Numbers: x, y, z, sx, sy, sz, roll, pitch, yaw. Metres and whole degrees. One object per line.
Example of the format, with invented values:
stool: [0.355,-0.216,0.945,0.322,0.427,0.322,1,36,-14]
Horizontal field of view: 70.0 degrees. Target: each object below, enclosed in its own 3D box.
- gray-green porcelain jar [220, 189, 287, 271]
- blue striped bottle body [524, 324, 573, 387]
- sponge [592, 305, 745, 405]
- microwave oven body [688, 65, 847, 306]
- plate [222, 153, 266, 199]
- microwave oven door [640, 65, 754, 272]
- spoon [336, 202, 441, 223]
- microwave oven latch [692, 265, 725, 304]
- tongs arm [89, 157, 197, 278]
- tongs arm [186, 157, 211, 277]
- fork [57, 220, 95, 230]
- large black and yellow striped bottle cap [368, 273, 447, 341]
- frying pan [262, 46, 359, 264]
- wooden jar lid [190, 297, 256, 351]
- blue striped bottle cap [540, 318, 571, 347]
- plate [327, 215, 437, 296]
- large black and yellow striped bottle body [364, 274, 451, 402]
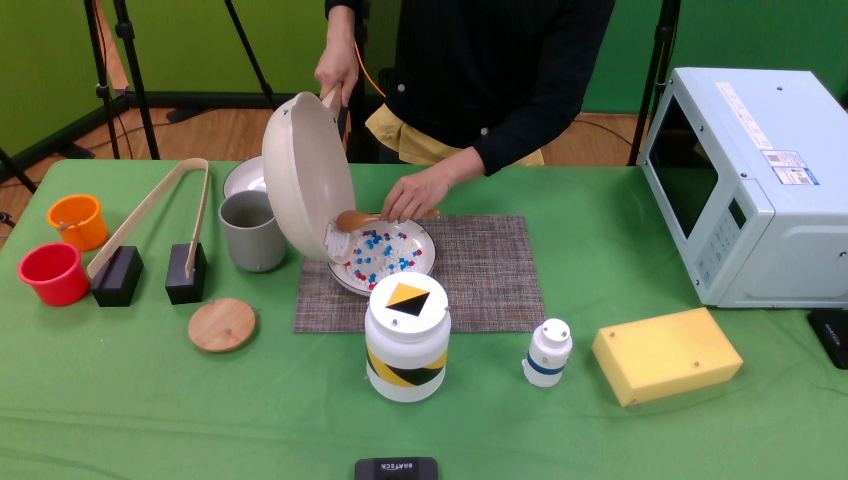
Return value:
gray-green porcelain jar: [-0.309,-0.014,1.113,0.106,0.127,0.105,2,46,-2]
blue striped bottle body: [0.200,0.178,0.970,0.063,0.121,0.062,2,46,-2]
sponge: [0.405,0.190,1.014,0.207,0.061,0.117,-10,48,-12]
microwave oven body: [0.669,-0.111,1.176,0.326,0.261,0.439,0,46,-3]
plate: [-0.310,-0.106,1.263,0.208,0.039,0.206,2,47,-2]
microwave oven door: [0.523,-0.147,1.193,0.039,0.245,0.353,0,47,-3]
spoon: [-0.066,-0.052,1.118,0.194,0.022,0.041,-1,66,-6]
microwave oven latch: [0.522,0.081,1.116,0.030,0.029,0.078,1,46,-2]
tongs arm: [-0.530,-0.058,1.163,0.028,0.028,0.385,1,36,7]
tongs arm: [-0.445,-0.058,1.168,0.051,0.026,0.382,-5,37,-6]
fork: [-0.624,-0.027,1.087,0.028,0.207,0.018,-3,92,-17]
large black and yellow striped bottle cap: [-0.023,0.094,0.875,0.115,0.019,0.114,2,45,-2]
frying pan: [-0.178,-0.183,1.081,0.102,0.309,0.485,-3,53,14]
wooden jar lid: [-0.342,0.145,1.033,0.108,0.021,0.107,2,45,-2]
blue striped bottle cap: [0.203,0.142,0.933,0.044,0.021,0.044,3,49,-3]
plate: [-0.080,0.030,1.143,0.209,0.038,0.208,2,46,-2]
large black and yellow striped bottle body: [-0.026,0.151,0.937,0.131,0.185,0.130,2,47,-2]
